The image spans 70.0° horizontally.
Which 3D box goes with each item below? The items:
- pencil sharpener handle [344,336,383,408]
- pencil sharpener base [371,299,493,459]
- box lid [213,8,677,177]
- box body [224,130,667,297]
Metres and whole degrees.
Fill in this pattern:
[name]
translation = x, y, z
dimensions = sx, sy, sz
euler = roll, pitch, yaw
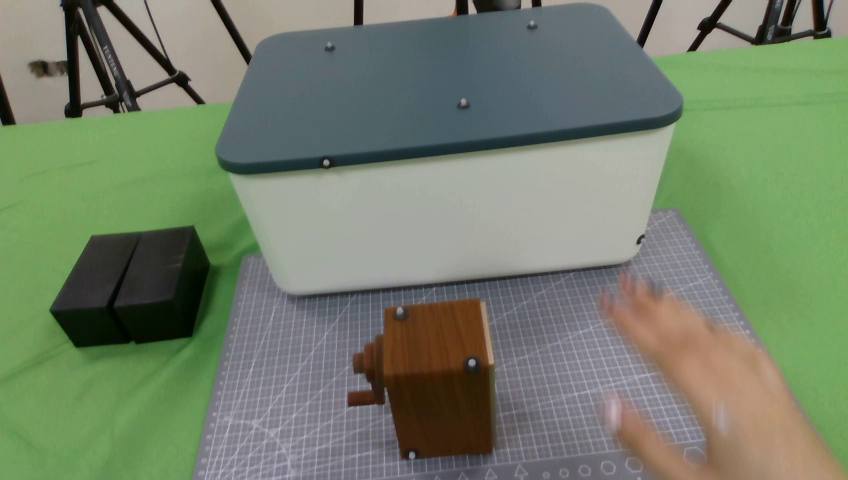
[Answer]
[pencil sharpener handle]
translation = -0.045, 0.095, 0.418
dimensions = 0.030, 0.068, 0.035
euler = -6, 44, 1
[pencil sharpener base]
translation = 0.007, 0.100, 0.425
dimensions = 0.077, 0.108, 0.060
euler = -6, 41, 1
[box lid]
translation = 0.009, -0.147, 0.555
dimensions = 0.371, 0.015, 0.260
euler = -6, 39, 0
[box body]
translation = 0.017, -0.090, 0.603
dimensions = 0.364, 0.162, 0.251
euler = -6, 40, 0
